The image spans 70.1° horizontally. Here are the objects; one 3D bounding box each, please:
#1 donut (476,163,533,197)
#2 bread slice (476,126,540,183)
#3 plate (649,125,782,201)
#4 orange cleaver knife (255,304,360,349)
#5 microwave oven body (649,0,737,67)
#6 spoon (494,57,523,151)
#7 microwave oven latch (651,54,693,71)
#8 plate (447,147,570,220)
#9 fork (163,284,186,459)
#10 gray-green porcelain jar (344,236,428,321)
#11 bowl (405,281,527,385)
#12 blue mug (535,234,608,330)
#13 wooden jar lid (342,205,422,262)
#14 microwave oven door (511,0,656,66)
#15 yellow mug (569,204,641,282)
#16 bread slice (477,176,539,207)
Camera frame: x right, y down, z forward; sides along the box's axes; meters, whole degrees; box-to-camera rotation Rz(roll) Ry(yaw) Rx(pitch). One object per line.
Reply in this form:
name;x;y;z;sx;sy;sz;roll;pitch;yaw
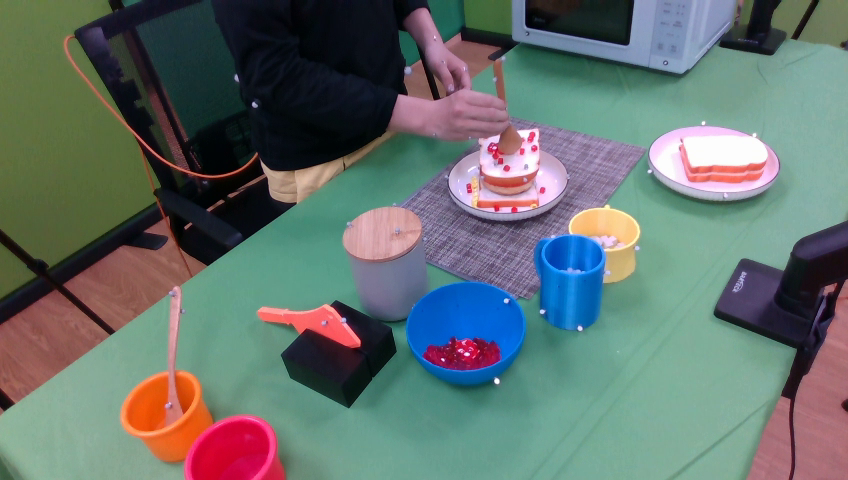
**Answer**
donut;0.138;-0.116;1.025;0.099;0.048;0.098;-8;56;13
bread slice;0.145;-0.144;1.011;0.107;0.018;0.133;-6;44;6
plate;0.493;-0.128;1.036;0.207;0.039;0.206;-4;41;4
orange cleaver knife;-0.161;0.115;0.813;0.210;0.077;0.012;-4;32;47
microwave oven body;0.475;-0.602;1.411;0.438;0.261;0.327;23;50;32
spoon;0.123;-0.200;0.921;0.041;0.195;0.021;-14;50;7
microwave oven latch;0.532;-0.386;1.301;0.078;0.029;0.030;26;52;34
plate;0.145;-0.098;1.046;0.209;0.038;0.208;-4;41;4
fork;-0.302;0.157;0.733;0.028;0.019;0.207;-3;84;15
gray-green porcelain jar;-0.049;0.042;0.849;0.106;0.127;0.105;-4;41;4
bowl;0.055;0.131;0.767;0.151;0.077;0.150;-4;40;4
blue mug;0.191;0.048;0.824;0.082;0.106;0.115;-26;44;-21
wooden jar lid;-0.055;-0.006;0.808;0.108;0.021;0.108;-6;40;6
microwave oven door;0.351;-0.539;1.349;0.353;0.245;0.039;24;50;31
yellow mug;0.268;-0.005;0.904;0.099;0.064;0.130;7;41;15
bread slice;0.144;-0.103;1.059;0.105;0.019;0.131;-1;45;5
